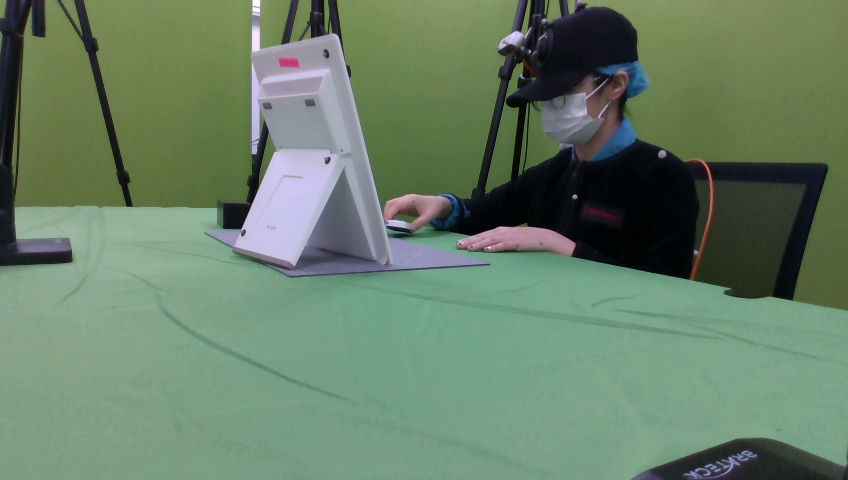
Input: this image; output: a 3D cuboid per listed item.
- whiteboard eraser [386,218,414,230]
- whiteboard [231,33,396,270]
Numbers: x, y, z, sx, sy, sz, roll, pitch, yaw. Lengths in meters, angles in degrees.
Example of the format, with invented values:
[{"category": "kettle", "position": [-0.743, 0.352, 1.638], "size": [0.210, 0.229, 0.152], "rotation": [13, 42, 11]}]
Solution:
[{"category": "whiteboard eraser", "position": [-0.045, -0.032, 1.170], "size": [0.041, 0.019, 0.101], "rotation": [9, 2, 9]}, {"category": "whiteboard", "position": [-0.193, -0.094, 0.805], "size": [0.144, 0.305, 0.216], "rotation": [-29, 25, -35]}]
